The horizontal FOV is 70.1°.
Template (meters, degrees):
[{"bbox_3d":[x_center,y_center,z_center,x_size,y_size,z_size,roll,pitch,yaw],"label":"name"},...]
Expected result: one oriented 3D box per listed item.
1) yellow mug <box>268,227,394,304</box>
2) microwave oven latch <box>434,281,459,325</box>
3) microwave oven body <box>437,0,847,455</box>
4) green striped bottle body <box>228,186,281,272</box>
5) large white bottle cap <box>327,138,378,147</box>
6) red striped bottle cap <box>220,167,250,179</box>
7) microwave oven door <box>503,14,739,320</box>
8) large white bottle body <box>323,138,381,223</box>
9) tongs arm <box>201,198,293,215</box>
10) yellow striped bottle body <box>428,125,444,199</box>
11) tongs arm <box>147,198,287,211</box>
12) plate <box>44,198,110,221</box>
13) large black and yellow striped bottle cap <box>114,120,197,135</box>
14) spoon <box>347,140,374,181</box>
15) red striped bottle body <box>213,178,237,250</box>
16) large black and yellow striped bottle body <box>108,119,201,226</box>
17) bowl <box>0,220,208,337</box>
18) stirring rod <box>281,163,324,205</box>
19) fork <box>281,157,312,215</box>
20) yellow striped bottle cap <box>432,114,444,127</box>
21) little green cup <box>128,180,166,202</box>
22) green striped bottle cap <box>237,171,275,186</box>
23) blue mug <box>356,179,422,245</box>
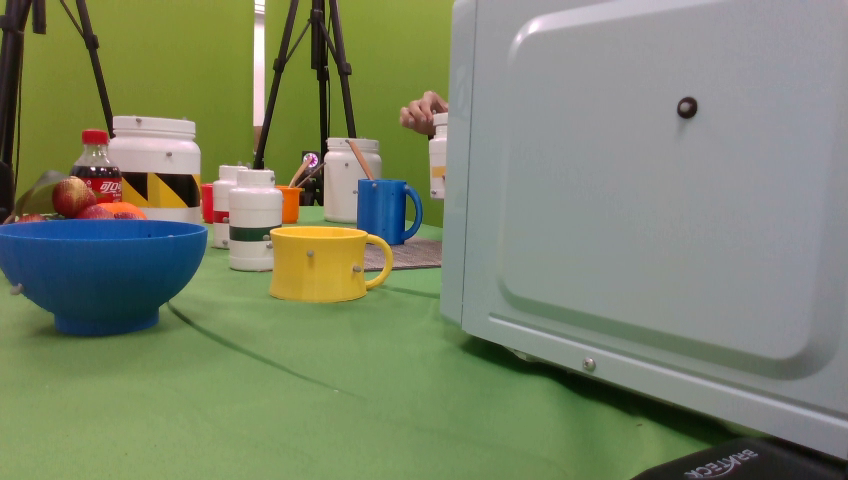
[{"bbox_3d":[-0.094,0.023,0.630,0.131,0.064,0.099,0,7,-22],"label":"yellow mug"},{"bbox_3d":[0.044,0.045,0.470,0.079,0.029,0.030,-2,8,-39],"label":"microwave oven latch"},{"bbox_3d":[0.279,-0.040,0.465,0.444,0.260,0.324,-3,9,-41],"label":"microwave oven body"},{"bbox_3d":[-0.208,-0.023,0.745,0.063,0.119,0.063,2,7,0],"label":"green striped bottle body"},{"bbox_3d":[-0.160,-0.218,1.357,0.115,0.018,0.115,2,8,0],"label":"large white bottle cap"},{"bbox_3d":[-0.281,-0.100,0.901,0.044,0.017,0.044,0,5,0],"label":"red striped bottle cap"},{"bbox_3d":[0.217,-0.065,0.601,0.358,0.243,0.039,-4,10,-41],"label":"microwave oven door"},{"bbox_3d":[-0.163,-0.135,1.368,0.131,0.184,0.130,2,7,0],"label":"large white bottle body"},{"bbox_3d":[-0.423,-0.084,1.472,0.050,0.026,0.386,2,6,21],"label":"tongs arm"},{"bbox_3d":[0.040,-0.129,0.993,0.063,0.120,0.063,-2,9,1],"label":"yellow striped bottle body"},{"bbox_3d":[-0.504,-0.091,1.513,0.028,0.028,0.389,-1,4,37],"label":"tongs arm"},{"bbox_3d":[-0.617,-0.056,1.179,0.209,0.038,0.209,3,7,0],"label":"plate"},{"bbox_3d":[-0.407,-0.171,0.920,0.115,0.019,0.115,2,9,0],"label":"large black and yellow striped bottle cap"},{"bbox_3d":[-0.089,-0.094,1.027,0.042,0.193,0.021,-4,-26,-45],"label":"spoon"},{"bbox_3d":[-0.284,-0.048,0.909,0.063,0.119,0.063,3,10,0],"label":"red striped bottle body"},{"bbox_3d":[-0.412,-0.088,0.930,0.131,0.184,0.130,3,7,0],"label":"large black and yellow striped bottle body"},{"bbox_3d":[-0.251,0.029,0.479,0.151,0.077,0.151,2,7,0],"label":"bowl"},{"bbox_3d":[-0.278,-0.105,1.293,0.176,0.006,0.014,-47,25,-18],"label":"stirring rod"},{"bbox_3d":[-0.289,-0.116,1.321,0.028,0.019,0.207,6,51,19],"label":"fork"},{"bbox_3d":[0.035,-0.195,0.987,0.044,0.018,0.044,-6,5,1],"label":"yellow striped bottle cap"},{"bbox_3d":[-0.485,-0.087,1.062,0.061,0.038,0.061,0,6,0],"label":"little green cup"},{"bbox_3d":[-0.205,-0.075,0.738,0.044,0.020,0.044,1,8,0],"label":"green striped bottle cap"},{"bbox_3d":[-0.057,-0.046,1.006,0.116,0.106,0.082,5,8,21],"label":"blue mug"}]
